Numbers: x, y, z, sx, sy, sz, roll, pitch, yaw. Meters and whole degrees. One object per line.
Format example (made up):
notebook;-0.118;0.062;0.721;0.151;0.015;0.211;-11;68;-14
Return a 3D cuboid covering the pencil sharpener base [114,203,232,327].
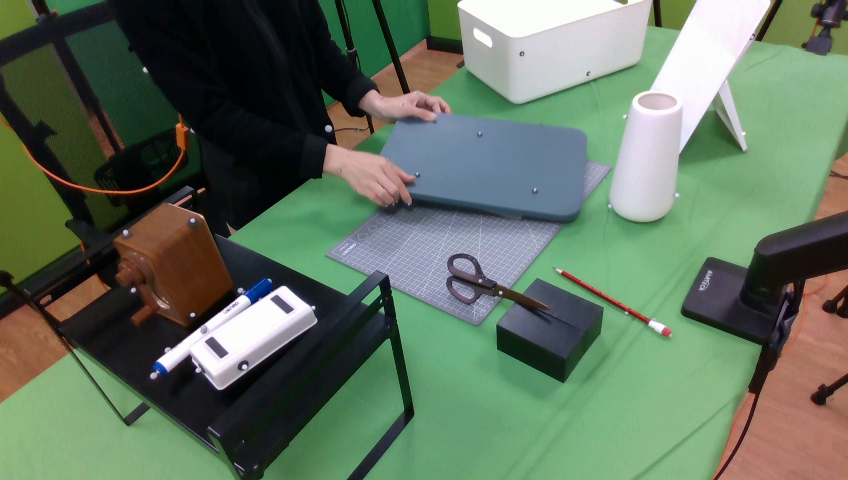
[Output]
pencil sharpener base;-0.262;0.029;0.635;0.061;0.107;0.077;18;47;26

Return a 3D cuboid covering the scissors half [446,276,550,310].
scissors half;0.098;0.077;0.827;0.174;0.040;0.013;6;14;44

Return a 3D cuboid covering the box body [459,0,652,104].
box body;0.291;-0.465;1.371;0.365;0.161;0.252;-22;42;-16

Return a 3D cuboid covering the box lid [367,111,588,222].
box lid;0.105;-0.142;1.087;0.371;0.015;0.262;9;45;10

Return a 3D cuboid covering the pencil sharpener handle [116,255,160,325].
pencil sharpener handle;-0.286;0.050;0.594;0.035;0.068;0.031;7;41;35

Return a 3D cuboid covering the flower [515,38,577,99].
flower;0.297;-0.413;1.411;0.044;0.038;0.362;-13;25;41

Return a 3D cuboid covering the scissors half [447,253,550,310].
scissors half;0.098;0.058;0.821;0.173;0.040;0.013;27;33;37

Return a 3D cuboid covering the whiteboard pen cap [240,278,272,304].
whiteboard pen cap;-0.184;0.057;0.658;0.018;0.018;0.033;19;44;28

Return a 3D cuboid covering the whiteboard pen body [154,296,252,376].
whiteboard pen body;-0.215;0.089;0.619;0.017;0.017;0.141;19;42;28

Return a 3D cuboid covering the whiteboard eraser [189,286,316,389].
whiteboard eraser;-0.166;0.096;0.593;0.113;0.042;0.055;-36;47;-29

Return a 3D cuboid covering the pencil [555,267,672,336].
pencil;0.260;0.082;0.850;0.012;0.012;0.192;-33;46;-27

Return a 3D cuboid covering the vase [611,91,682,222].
vase;0.348;-0.125;0.935;0.098;0.201;0.097;-3;40;3

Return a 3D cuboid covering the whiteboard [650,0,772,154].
whiteboard;0.543;-0.298;1.076;0.144;0.305;0.216;12;40;-7
